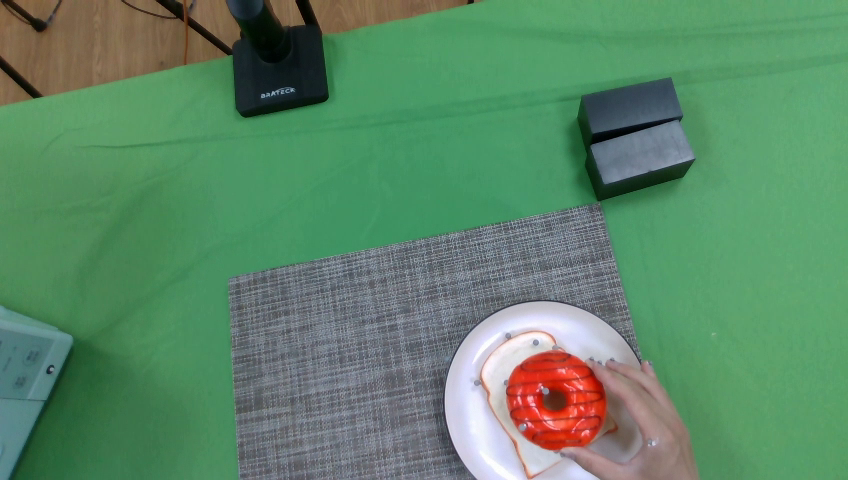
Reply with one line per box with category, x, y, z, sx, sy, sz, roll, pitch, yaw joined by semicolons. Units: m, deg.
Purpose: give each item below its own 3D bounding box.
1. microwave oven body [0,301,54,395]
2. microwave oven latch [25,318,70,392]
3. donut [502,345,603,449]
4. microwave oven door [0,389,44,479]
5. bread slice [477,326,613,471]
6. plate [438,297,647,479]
microwave oven body;-0.648;0.226;0.594;0.325;0.262;0.440;17;77;12
microwave oven latch;-0.439;0.132;0.695;0.030;0.030;0.079;19;78;12
donut;0.126;0.153;0.595;0.099;0.048;0.098;-3;68;8
microwave oven door;-0.525;0.303;0.549;0.039;0.245;0.354;16;76;13
bread slice;0.116;0.157;0.631;0.105;0.019;0.130;-31;74;-3
plate;0.119;0.164;0.627;0.207;0.039;0.206;-2;74;7
